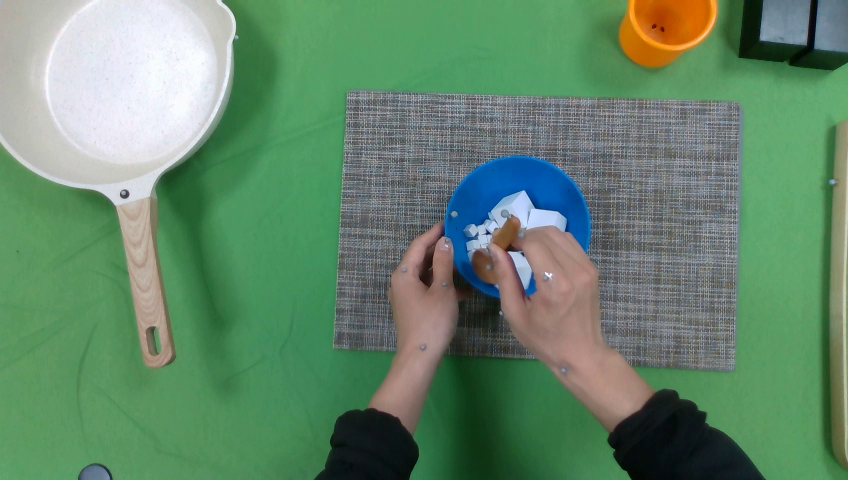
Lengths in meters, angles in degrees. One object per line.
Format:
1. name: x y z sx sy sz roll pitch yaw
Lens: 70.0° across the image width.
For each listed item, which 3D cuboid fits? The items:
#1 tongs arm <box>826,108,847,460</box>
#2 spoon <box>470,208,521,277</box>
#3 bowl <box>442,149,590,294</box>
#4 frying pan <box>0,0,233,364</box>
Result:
1. tongs arm: 0.459 0.049 0.662 0.028 0.028 0.387 1 88 2
2. spoon: 0.065 0.005 0.546 0.021 0.194 0.041 -42 82 -8
3. bowl: 0.096 -0.017 0.653 0.151 0.077 0.151 0 87 4
4. frying pan: -0.331 -0.103 0.671 0.307 0.103 0.485 -14 78 3
